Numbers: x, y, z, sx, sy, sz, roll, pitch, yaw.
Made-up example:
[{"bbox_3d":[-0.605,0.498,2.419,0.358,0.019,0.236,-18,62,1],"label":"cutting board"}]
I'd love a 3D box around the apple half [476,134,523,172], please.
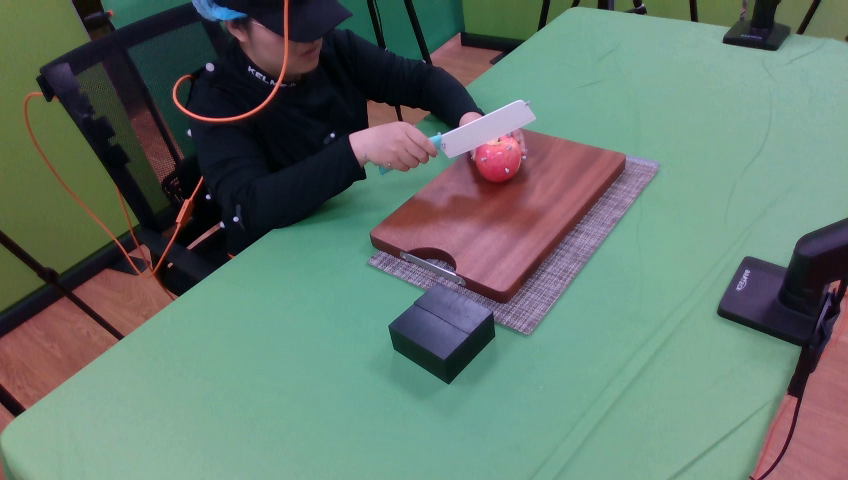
[{"bbox_3d":[0.134,-0.151,1.056,0.080,0.075,0.053,-2,36,14],"label":"apple half"}]

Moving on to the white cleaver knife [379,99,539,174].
[{"bbox_3d":[0.051,-0.162,1.013,0.285,0.066,0.021,-19,50,21],"label":"white cleaver knife"}]

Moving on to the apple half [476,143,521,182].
[{"bbox_3d":[0.127,-0.126,1.026,0.081,0.081,0.032,1,36,12],"label":"apple half"}]
